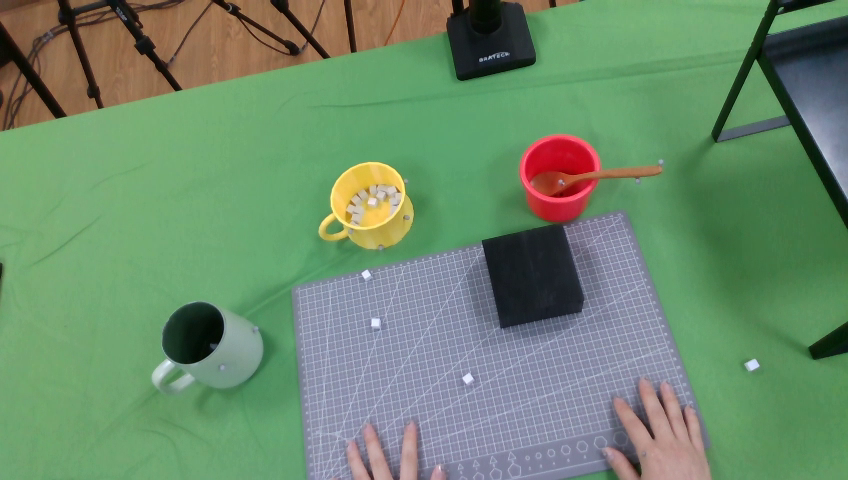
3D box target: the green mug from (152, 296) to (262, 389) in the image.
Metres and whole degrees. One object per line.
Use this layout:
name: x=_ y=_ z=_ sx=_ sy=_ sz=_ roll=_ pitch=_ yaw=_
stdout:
green mug: x=-0.269 y=0.132 z=0.735 sx=0.125 sy=0.106 sz=0.092 roll=-43 pitch=67 yaw=-10

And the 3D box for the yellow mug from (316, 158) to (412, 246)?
yellow mug: x=-0.084 y=-0.043 z=0.804 sx=0.131 sy=0.064 sz=0.099 roll=-31 pitch=66 yaw=-4

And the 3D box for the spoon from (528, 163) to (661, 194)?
spoon: x=0.198 y=-0.079 z=0.731 sx=0.192 sy=0.022 sz=0.041 roll=-1 pitch=60 yaw=58
